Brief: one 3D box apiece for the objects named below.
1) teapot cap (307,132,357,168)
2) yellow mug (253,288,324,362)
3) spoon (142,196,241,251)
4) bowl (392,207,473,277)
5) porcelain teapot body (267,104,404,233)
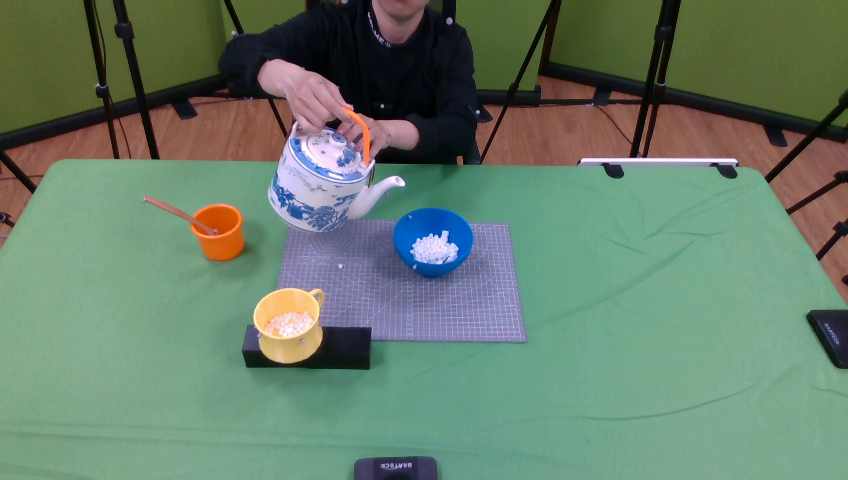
[{"bbox_3d":[-0.149,-0.152,0.992,0.085,0.044,0.084,21,40,-19],"label":"teapot cap"},{"bbox_3d":[-0.205,0.124,0.963,0.099,0.064,0.130,27,48,21],"label":"yellow mug"},{"bbox_3d":[-0.421,-0.032,1.108,0.021,0.195,0.041,-32,40,28],"label":"spoon"},{"bbox_3d":[0.014,0.016,1.140,0.151,0.077,0.150,2,46,-2],"label":"bowl"},{"bbox_3d":[-0.141,-0.114,1.021,0.206,0.226,0.144,25,39,-10],"label":"porcelain teapot body"}]
